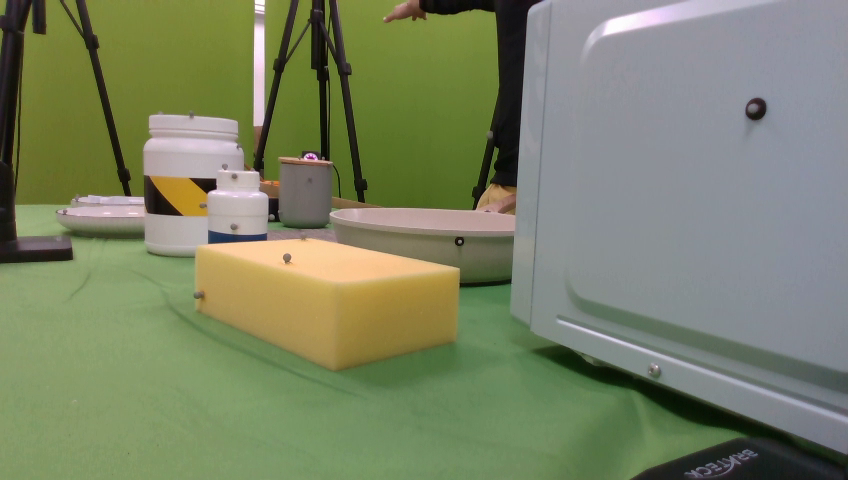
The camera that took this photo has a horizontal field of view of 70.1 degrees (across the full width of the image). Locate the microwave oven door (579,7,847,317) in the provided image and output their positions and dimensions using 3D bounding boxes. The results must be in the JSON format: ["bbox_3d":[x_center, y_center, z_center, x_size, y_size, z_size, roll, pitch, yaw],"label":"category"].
[{"bbox_3d":[0.294,-0.067,0.570,0.358,0.243,0.039,-3,9,-31],"label":"microwave oven door"}]

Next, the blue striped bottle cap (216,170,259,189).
[{"bbox_3d":[-0.201,-0.066,0.654,0.044,0.020,0.044,0,5,0],"label":"blue striped bottle cap"}]

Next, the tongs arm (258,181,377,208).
[{"bbox_3d":[-0.242,-0.094,1.374,0.387,0.026,0.050,9,0,-38],"label":"tongs arm"}]

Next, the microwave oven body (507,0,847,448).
[{"bbox_3d":[0.331,-0.042,0.425,0.444,0.260,0.324,-2,8,-31],"label":"microwave oven body"}]

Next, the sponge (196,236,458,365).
[{"bbox_3d":[-0.087,0.039,0.500,0.206,0.061,0.119,8,9,44],"label":"sponge"}]

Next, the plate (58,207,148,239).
[{"bbox_3d":[-0.496,-0.030,1.021,0.209,0.038,0.209,2,8,0],"label":"plate"}]

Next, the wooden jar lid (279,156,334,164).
[{"bbox_3d":[-0.237,-0.154,1.213,0.108,0.020,0.108,6,9,-1],"label":"wooden jar lid"}]

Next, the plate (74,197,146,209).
[{"bbox_3d":[-0.596,-0.062,1.238,0.208,0.039,0.207,2,8,0],"label":"plate"}]

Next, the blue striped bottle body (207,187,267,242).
[{"bbox_3d":[-0.204,-0.016,0.661,0.063,0.120,0.063,2,7,0],"label":"blue striped bottle body"}]

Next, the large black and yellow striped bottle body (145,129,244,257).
[{"bbox_3d":[-0.320,-0.075,0.851,0.131,0.184,0.130,2,8,0],"label":"large black and yellow striped bottle body"}]

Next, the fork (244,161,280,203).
[{"bbox_3d":[-0.398,-0.144,1.489,0.028,0.018,0.208,22,-23,47],"label":"fork"}]

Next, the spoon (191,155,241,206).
[{"bbox_3d":[-0.489,-0.136,1.418,0.041,0.021,0.194,2,-35,19],"label":"spoon"}]

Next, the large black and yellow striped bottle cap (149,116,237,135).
[{"bbox_3d":[-0.319,-0.158,0.841,0.115,0.019,0.115,3,6,0],"label":"large black and yellow striped bottle cap"}]

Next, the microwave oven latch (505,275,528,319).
[{"bbox_3d":[0.100,0.042,0.471,0.079,0.029,0.030,-1,7,-28],"label":"microwave oven latch"}]

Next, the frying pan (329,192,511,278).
[{"bbox_3d":[0.071,-0.030,0.884,0.305,0.102,0.490,7,17,27],"label":"frying pan"}]

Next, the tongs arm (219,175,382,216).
[{"bbox_3d":[-0.286,-0.105,1.445,0.389,0.027,0.028,10,-3,-24],"label":"tongs arm"}]

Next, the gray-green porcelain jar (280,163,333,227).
[{"bbox_3d":[-0.238,-0.092,1.221,0.106,0.126,0.106,1,7,0],"label":"gray-green porcelain jar"}]
